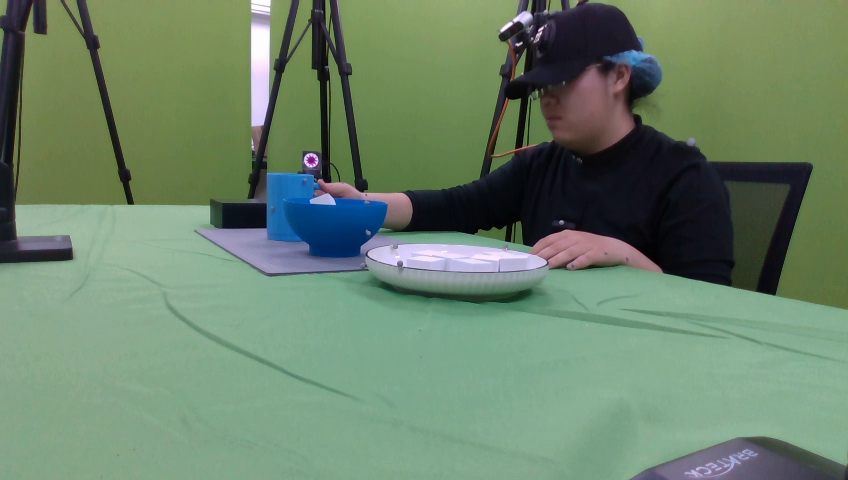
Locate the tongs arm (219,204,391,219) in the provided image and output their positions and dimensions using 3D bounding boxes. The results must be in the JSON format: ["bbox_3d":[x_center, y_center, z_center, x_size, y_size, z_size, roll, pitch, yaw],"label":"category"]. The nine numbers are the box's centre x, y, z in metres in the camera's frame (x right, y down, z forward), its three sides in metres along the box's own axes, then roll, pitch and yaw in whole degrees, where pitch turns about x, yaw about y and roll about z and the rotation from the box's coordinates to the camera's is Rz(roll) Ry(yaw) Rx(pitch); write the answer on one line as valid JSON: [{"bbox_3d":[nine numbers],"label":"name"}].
[{"bbox_3d":[-0.258,-0.064,1.367,0.386,0.026,0.050,1,3,-17],"label":"tongs arm"}]

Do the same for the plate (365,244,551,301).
[{"bbox_3d":[0.038,0.036,0.685,0.209,0.038,0.209,2,7,0],"label":"plate"}]

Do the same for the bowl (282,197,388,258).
[{"bbox_3d":[-0.128,-0.018,0.869,0.151,0.077,0.151,2,7,0],"label":"bowl"}]

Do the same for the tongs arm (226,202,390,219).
[{"bbox_3d":[-0.275,-0.071,1.446,0.388,0.027,0.028,2,-1,-4],"label":"tongs arm"}]

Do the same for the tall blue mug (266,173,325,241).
[{"bbox_3d":[-0.220,-0.058,1.021,0.078,0.108,0.107,3,8,9],"label":"tall blue mug"}]
